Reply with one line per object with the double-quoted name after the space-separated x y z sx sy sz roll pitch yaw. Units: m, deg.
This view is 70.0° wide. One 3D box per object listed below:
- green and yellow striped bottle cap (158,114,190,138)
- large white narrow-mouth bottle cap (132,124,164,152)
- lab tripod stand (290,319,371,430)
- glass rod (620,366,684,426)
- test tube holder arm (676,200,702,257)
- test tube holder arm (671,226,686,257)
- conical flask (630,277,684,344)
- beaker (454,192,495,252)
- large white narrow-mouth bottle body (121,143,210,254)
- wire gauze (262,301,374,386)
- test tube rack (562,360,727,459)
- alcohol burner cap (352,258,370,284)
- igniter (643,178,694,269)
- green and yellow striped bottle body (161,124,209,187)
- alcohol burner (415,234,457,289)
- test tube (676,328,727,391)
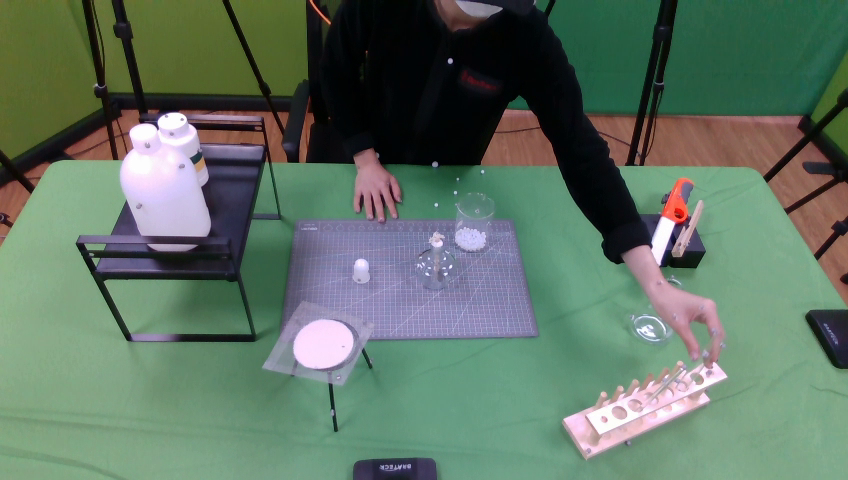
-0.392 -0.179 0.951 0.045 0.020 0.045 2 44 -2 "green and yellow striped bottle cap"
-0.370 -0.137 0.812 0.038 0.024 0.037 3 46 -3 "large white narrow-mouth bottle cap"
-0.146 0.194 0.923 0.148 0.132 0.147 1 47 -1 "lab tripod stand"
0.322 0.227 0.866 0.008 0.200 0.008 6 51 -7 "glass rod"
0.522 -0.025 1.190 0.013 0.015 0.178 -1 35 41 "test tube holder arm"
0.494 0.001 1.166 0.010 0.015 0.087 -1 35 42 "test tube holder arm"
0.409 0.117 1.045 0.075 0.122 0.075 2 46 -2 "conical flask"
0.097 -0.034 1.180 0.074 0.101 0.084 23 49 17 "beaker"
-0.377 -0.077 0.875 0.102 0.195 0.101 3 46 -3 "large white narrow-mouth bottle body"
-0.150 0.148 0.873 0.121 0.011 0.124 14 46 12 "wire gauze"
0.341 0.248 0.940 0.243 0.085 0.066 -16 49 -18 "test tube rack"
-0.117 0.055 1.118 0.034 0.048 0.033 2 46 -2 "alcohol burner cap"
0.488 -0.042 1.204 0.057 0.025 0.276 30 52 11 "igniter"
-0.395 -0.144 0.989 0.063 0.120 0.063 2 46 -2 "green and yellow striped bottle body"
0.022 0.034 1.100 0.078 0.120 0.077 1 47 0 "alcohol burner"
0.392 0.175 0.863 0.017 0.151 0.017 3 46 -3 "test tube"
